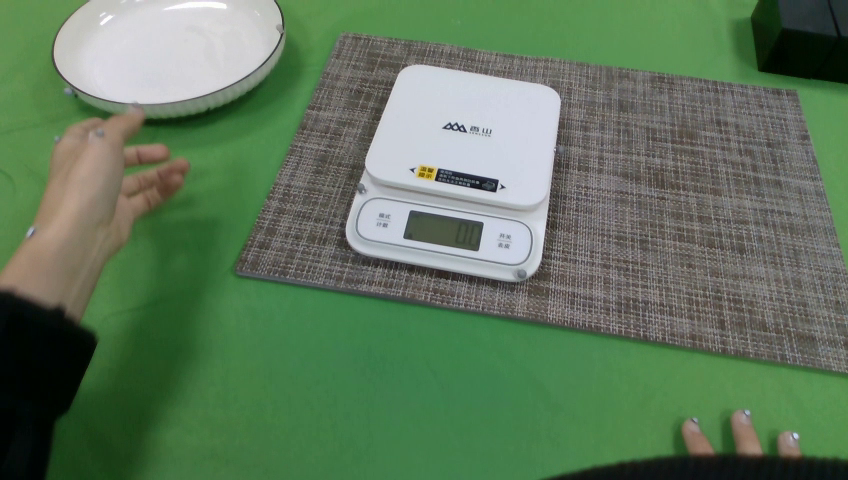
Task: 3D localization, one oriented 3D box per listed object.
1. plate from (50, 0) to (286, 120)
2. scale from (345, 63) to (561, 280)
[{"bbox_3d":[-0.233,-0.181,0.572,0.208,0.039,0.205,1,53,-1],"label":"plate"},{"bbox_3d":[0.030,-0.064,0.491,0.148,0.032,0.199,10,54,7],"label":"scale"}]
